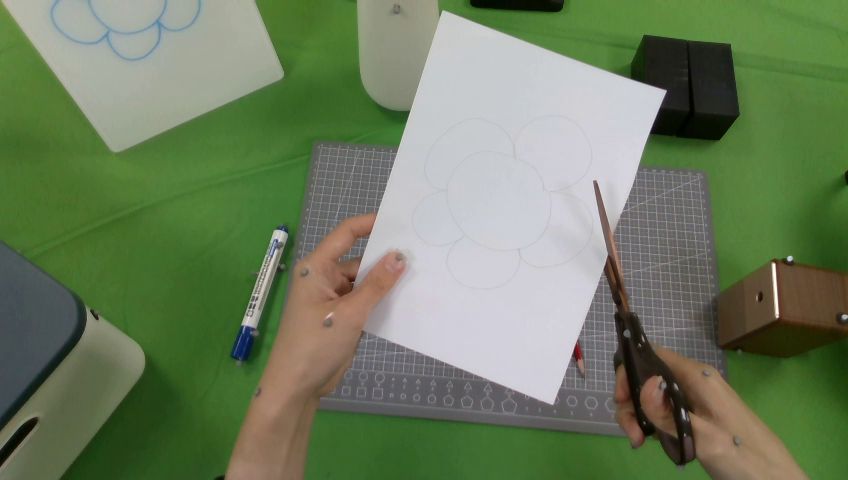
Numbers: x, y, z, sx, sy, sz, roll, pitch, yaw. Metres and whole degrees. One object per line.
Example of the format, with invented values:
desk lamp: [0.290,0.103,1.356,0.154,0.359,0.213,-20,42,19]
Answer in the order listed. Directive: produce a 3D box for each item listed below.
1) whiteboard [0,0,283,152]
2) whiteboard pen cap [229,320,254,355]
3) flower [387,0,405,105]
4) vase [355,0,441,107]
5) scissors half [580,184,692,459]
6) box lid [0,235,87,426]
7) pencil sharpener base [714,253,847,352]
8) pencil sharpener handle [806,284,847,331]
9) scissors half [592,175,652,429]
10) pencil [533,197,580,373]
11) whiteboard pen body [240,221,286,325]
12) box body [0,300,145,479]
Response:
whiteboard: [-0.320,-0.290,0.639,0.217,0.308,0.142,-28,51,-11]
whiteboard pen cap: [-0.180,0.096,0.601,0.018,0.018,0.033,10,63,4]
flower: [-0.036,-0.278,0.572,0.044,0.365,0.038,-2,50,2]
vase: [-0.030,-0.232,0.643,0.098,0.201,0.097,0,66,1]
scissors half: [0.124,0.042,0.366,0.013,0.040,0.173,-14,67,-2]
box lid: [-0.472,0.060,0.457,0.370,0.015,0.262,30,70,11]
pencil sharpener base: [0.336,0.063,0.574,0.077,0.107,0.061,9,67,0]
pencil sharpener handle: [0.387,0.067,0.562,0.030,0.068,0.035,9,61,0]
scissors half: [0.125,0.043,0.390,0.013,0.040,0.176,-14,107,2]
pencil: [0.139,0.043,0.632,0.012,0.012,0.192,-8,70,-4]
whiteboard pen body: [-0.169,0.044,0.625,0.017,0.017,0.140,11,66,4]
box body: [-0.471,0.090,0.525,0.362,0.161,0.253,30,71,11]
